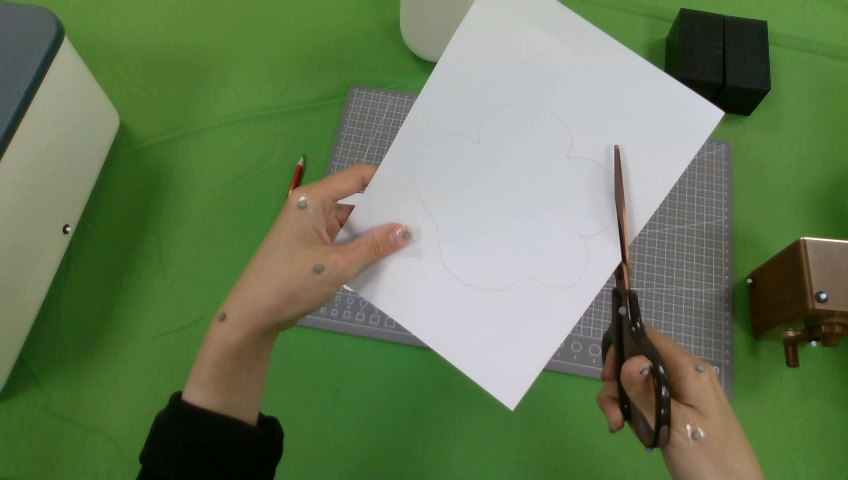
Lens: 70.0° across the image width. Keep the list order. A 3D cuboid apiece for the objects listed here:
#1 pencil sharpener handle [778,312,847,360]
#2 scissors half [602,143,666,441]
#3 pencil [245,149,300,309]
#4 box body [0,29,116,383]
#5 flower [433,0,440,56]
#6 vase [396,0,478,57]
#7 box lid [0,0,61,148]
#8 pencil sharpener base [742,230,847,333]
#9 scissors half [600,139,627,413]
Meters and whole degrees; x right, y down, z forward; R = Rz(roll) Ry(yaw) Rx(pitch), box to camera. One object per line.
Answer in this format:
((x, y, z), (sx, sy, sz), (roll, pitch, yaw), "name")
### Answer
((0.350, 0.088, 0.546), (0.036, 0.068, 0.030), (11, 68, -12), "pencil sharpener handle")
((0.119, 0.027, 0.352), (0.013, 0.040, 0.174), (-5, 78, -4), "scissors half")
((-0.160, -0.017, 0.653), (0.012, 0.012, 0.193), (10, 66, 4), "pencil")
((-0.495, -0.045, 0.579), (0.254, 0.161, 0.361), (9, 68, 4), "box body")
((0.009, -0.341, 0.592), (0.044, 0.365, 0.038), (3, 50, 5), "flower")
((0.014, -0.296, 0.664), (0.098, 0.201, 0.097), (0, 66, 1), "vase")
((-0.495, -0.076, 0.510), (0.263, 0.015, 0.369), (10, 68, 3), "box lid")
((0.359, 0.047, 0.577), (0.061, 0.108, 0.076), (5, 68, 2), "pencil sharpener base")
((0.118, 0.026, 0.375), (0.013, 0.040, 0.176), (-5, 108, 0), "scissors half")
